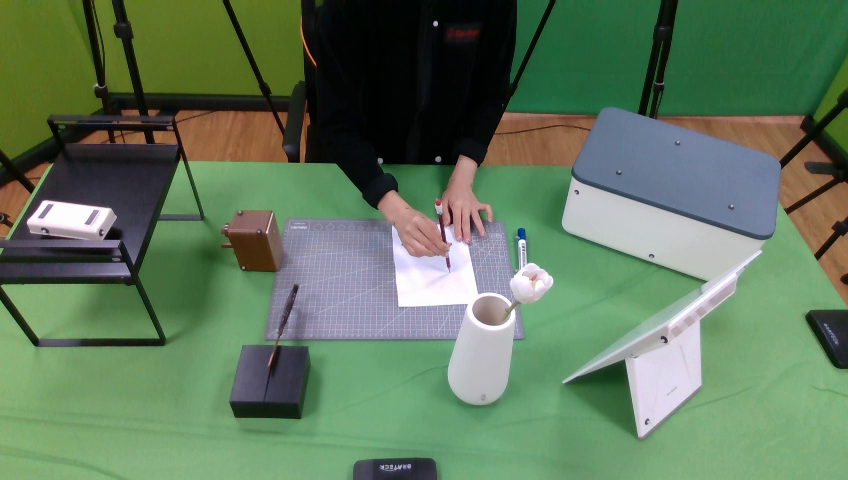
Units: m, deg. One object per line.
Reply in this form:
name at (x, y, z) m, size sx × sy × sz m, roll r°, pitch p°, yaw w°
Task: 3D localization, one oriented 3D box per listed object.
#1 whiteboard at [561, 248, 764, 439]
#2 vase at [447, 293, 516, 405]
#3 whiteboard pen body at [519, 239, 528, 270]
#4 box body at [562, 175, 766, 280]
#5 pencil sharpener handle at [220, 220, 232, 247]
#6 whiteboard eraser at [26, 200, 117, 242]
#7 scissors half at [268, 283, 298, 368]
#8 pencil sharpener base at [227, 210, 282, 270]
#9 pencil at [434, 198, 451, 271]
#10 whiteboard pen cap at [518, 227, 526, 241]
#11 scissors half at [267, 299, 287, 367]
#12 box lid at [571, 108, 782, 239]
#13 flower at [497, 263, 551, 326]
whiteboard at (0.386, 0.176, 0.905) m, size 0.217 × 0.306 × 0.143 m, roll -26°, pitch 72°, yaw -27°
vase at (0.091, 0.169, 0.921) m, size 0.098 × 0.201 × 0.097 m, roll 3°, pitch 47°, yaw -3°
whiteboard pen body at (0.193, 0.035, 1.181) m, size 0.017 × 0.017 × 0.140 m, roll 6°, pitch 48°, yaw 1°
box body at (0.486, -0.088, 1.222) m, size 0.363 × 0.161 × 0.253 m, roll 20°, pitch 48°, yaw 15°
pencil sharpener handle at (-0.362, -0.009, 1.105) m, size 0.030 × 0.068 × 0.036 m, roll 1°, pitch 52°, yaw 1°
whiteboard eraser at (-0.532, -0.026, 0.919) m, size 0.113 × 0.042 × 0.055 m, roll 7°, pitch 45°, yaw 3°
scissors half at (-0.230, 0.135, 0.986) m, size 0.013 × 0.040 × 0.174 m, roll 19°, pitch 43°, yaw -11°
pencil sharpener base at (-0.311, 0.001, 1.112) m, size 0.077 × 0.107 × 0.061 m, roll 1°, pitch 47°, yaw 1°
pencil at (0.035, -0.004, 1.080) m, size 0.012 × 0.195 × 0.012 m, roll -5°, pitch 49°, yaw 6°
whiteboard pen cap at (0.197, -0.009, 1.220) m, size 0.018 × 0.018 × 0.033 m, roll 5°, pitch 50°, yaw 1°
scissors half at (-0.239, 0.150, 0.997) m, size 0.013 × 0.040 × 0.174 m, roll 24°, pitch 24°, yaw -13°
box lid at (0.491, -0.139, 1.168) m, size 0.370 × 0.015 × 0.262 m, roll 21°, pitch 49°, yaw 15°
flower at (0.102, 0.121, 0.853) m, size 0.044 × 0.363 × 0.038 m, roll -2°, pitch 64°, yaw -10°
